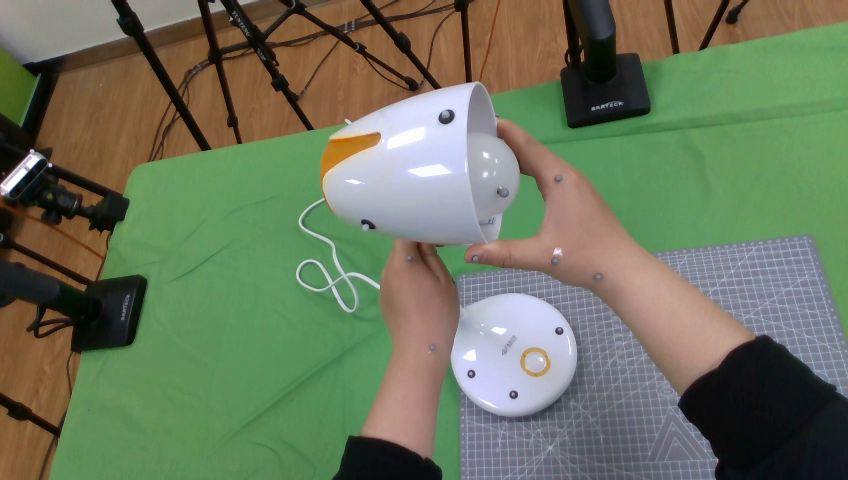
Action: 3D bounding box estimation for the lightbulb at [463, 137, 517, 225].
[{"bbox_3d":[0.011,-0.037,0.420,0.107,0.060,0.059,-7,61,22],"label":"lightbulb"}]

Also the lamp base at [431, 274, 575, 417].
[{"bbox_3d":[0.077,0.105,0.710,0.178,0.182,0.160,17,69,28],"label":"lamp base"}]

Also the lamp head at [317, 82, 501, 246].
[{"bbox_3d":[-0.010,-0.046,0.432,0.122,0.113,0.111,-6,61,23],"label":"lamp head"}]
